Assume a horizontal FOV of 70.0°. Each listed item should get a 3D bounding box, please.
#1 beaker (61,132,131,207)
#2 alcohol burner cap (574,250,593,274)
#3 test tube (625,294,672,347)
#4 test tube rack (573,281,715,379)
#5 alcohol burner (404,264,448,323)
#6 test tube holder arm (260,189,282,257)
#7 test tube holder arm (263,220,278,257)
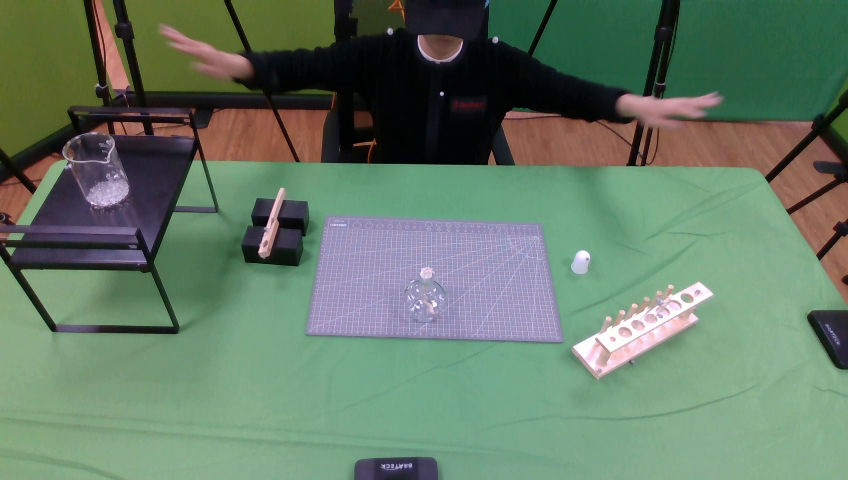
[{"bbox_3d":[-0.512,-0.107,0.959,0.083,0.101,0.074,29,51,22],"label":"beaker"},{"bbox_3d":[0.308,0.039,1.163,0.034,0.048,0.033,1,46,-1],"label":"alcohol burner cap"},{"bbox_3d":[0.355,0.132,0.971,0.017,0.151,0.017,6,52,-8],"label":"test tube"},{"bbox_3d":[0.378,0.140,1.038,0.242,0.085,0.066,-22,51,-23],"label":"test tube rack"},{"bbox_3d":[0.003,0.087,1.042,0.078,0.120,0.077,1,45,0],"label":"alcohol burner"},{"bbox_3d":[-0.288,-0.036,1.147,0.013,0.015,0.177,-1,45,-1],"label":"test tube holder arm"},{"bbox_3d":[-0.282,-0.004,1.115,0.010,0.015,0.087,0,45,0],"label":"test tube holder arm"}]
